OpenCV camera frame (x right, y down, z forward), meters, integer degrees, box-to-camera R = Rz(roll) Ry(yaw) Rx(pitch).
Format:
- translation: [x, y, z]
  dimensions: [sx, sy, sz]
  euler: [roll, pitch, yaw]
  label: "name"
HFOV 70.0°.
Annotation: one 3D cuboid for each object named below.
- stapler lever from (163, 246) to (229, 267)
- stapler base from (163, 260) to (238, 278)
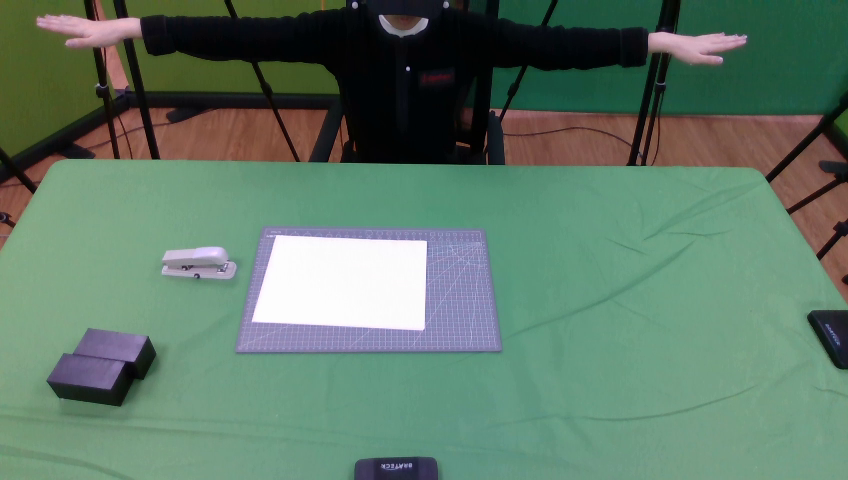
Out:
- translation: [-0.415, 0.029, 1.103]
  dimensions: [0.118, 0.040, 0.026]
  euler: [3, 43, 0]
  label: "stapler lever"
- translation: [-0.415, 0.046, 1.120]
  dimensions: [0.130, 0.024, 0.041]
  euler: [2, 43, 0]
  label: "stapler base"
